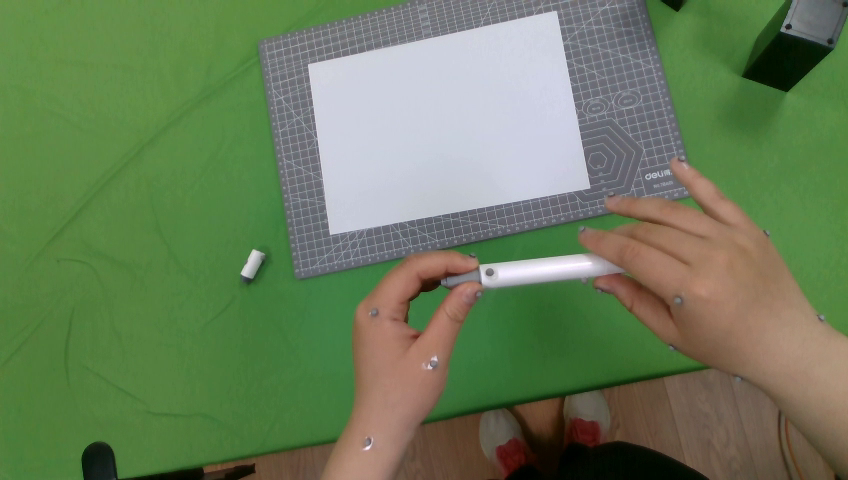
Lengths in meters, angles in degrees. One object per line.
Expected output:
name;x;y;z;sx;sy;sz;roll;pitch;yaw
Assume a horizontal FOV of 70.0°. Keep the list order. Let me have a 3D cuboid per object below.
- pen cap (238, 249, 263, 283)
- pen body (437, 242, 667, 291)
pen cap;-0.201;0.030;0.699;0.017;0.017;0.038;26;86;11
pen body;0.079;0.019;0.383;0.144;0.017;0.017;-8;81;1
